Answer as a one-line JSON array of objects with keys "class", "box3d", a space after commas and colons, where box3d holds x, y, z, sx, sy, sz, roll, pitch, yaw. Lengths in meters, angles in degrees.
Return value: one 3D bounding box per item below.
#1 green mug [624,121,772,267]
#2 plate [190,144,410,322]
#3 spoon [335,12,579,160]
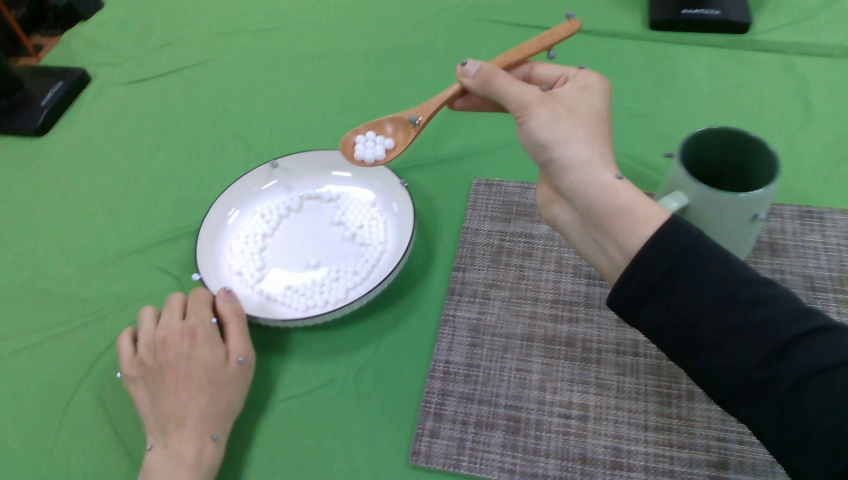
[{"class": "green mug", "box3d": [0.224, -0.029, 0.516, 0.125, 0.106, 0.091, -28, 55, -15]}, {"class": "plate", "box3d": [-0.114, -0.008, 0.583, 0.209, 0.038, 0.207, -3, 52, 4]}, {"class": "spoon", "box3d": [0.024, -0.110, 0.427, 0.194, 0.022, 0.041, -31, 59, 4]}]
